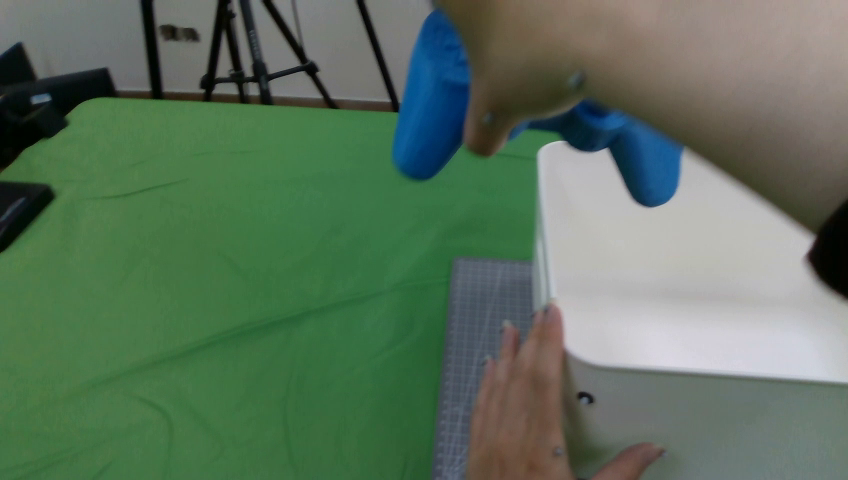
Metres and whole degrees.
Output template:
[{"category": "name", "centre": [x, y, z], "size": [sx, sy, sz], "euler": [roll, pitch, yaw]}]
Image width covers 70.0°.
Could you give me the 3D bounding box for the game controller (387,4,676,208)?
[{"category": "game controller", "centre": [0.061, -0.074, 0.319], "size": [0.155, 0.052, 0.096], "euler": [6, 69, -8]}]

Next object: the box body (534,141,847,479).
[{"category": "box body", "centre": [0.272, 0.058, 0.490], "size": [0.364, 0.162, 0.252], "euler": [3, 41, 4]}]
